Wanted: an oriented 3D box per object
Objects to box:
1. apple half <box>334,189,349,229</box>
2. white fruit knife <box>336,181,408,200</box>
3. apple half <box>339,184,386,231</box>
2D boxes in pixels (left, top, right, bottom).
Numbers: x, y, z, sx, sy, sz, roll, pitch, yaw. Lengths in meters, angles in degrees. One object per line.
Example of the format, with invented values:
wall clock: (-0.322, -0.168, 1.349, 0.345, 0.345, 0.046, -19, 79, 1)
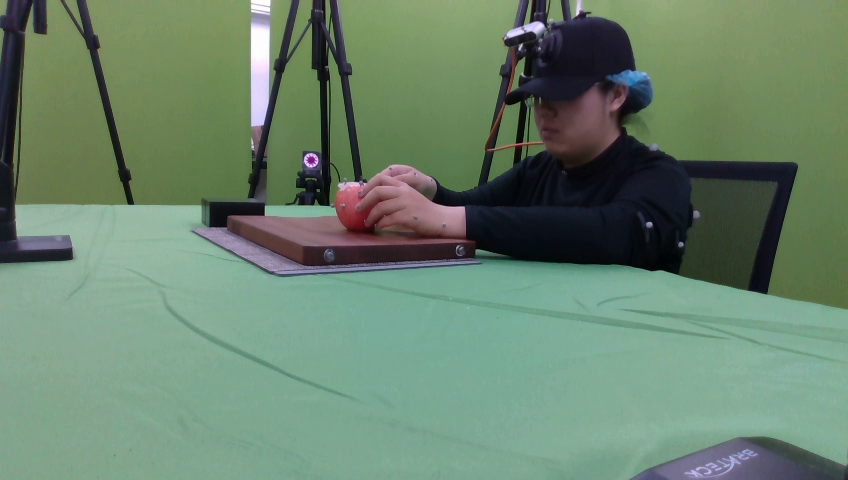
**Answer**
apple half: (-0.124, -0.055, 0.970, 0.032, 0.081, 0.081, 10, 10, 28)
white fruit knife: (-0.082, -0.085, 1.005, 0.016, 0.027, 0.208, 11, 6, 28)
apple half: (-0.089, -0.051, 0.951, 0.053, 0.074, 0.081, 11, 6, 29)
